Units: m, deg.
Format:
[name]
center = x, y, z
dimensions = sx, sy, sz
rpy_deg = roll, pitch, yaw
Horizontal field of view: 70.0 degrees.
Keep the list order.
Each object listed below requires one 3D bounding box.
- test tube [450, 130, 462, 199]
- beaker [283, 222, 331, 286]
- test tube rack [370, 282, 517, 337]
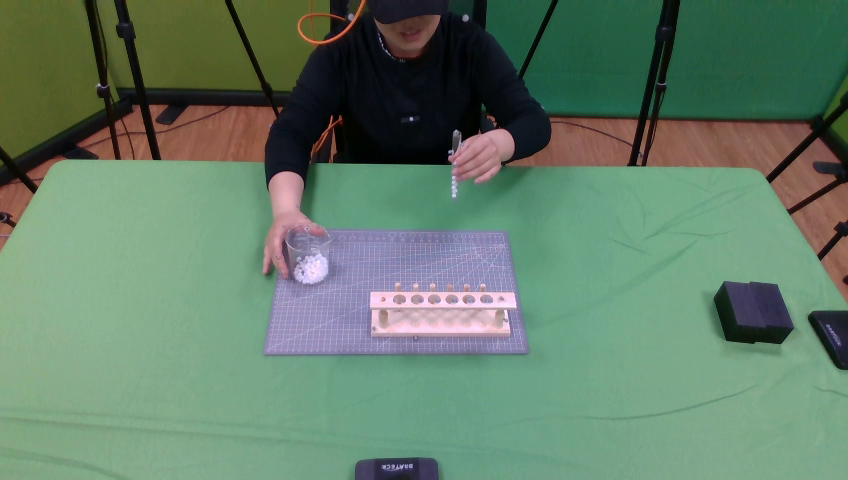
[test tube]
center = 0.058, -0.135, 1.115
dimensions = 0.017, 0.151, 0.017
rpy_deg = 0, 43, 0
[beaker]
center = -0.208, 0.028, 1.098
dimensions = 0.084, 0.101, 0.073
rpy_deg = 2, 46, -4
[test tube rack]
center = 0.030, 0.116, 1.041
dimensions = 0.242, 0.085, 0.066
rpy_deg = 1, 46, -4
